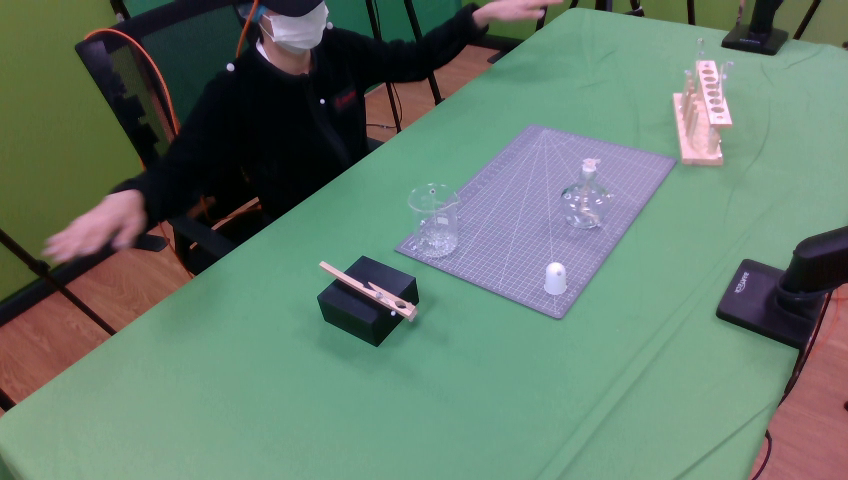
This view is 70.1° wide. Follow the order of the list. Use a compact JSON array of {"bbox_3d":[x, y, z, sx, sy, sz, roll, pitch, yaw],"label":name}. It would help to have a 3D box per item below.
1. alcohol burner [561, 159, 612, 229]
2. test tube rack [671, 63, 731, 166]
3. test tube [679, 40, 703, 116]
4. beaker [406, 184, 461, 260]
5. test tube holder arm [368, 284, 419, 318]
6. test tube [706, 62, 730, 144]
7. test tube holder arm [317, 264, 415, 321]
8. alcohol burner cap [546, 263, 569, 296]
[{"bbox_3d":[0.257,-0.077,0.951,0.078,0.119,0.077,-3,40,3],"label":"alcohol burner"},{"bbox_3d":[0.513,-0.240,1.132,0.066,0.085,0.242,4,41,14],"label":"test tube rack"},{"bbox_3d":[0.502,-0.303,1.138,0.017,0.151,0.017,-3,40,3],"label":"test tube"},{"bbox_3d":[0.019,-0.026,0.939,0.084,0.101,0.074,1,41,10],"label":"beaker"},{"bbox_3d":[-0.044,0.081,0.813,0.087,0.015,0.010,23,55,31],"label":"test tube holder arm"},{"bbox_3d":[0.507,-0.233,1.046,0.017,0.151,0.017,-5,36,4],"label":"test tube"},{"bbox_3d":[-0.083,0.070,0.833,0.177,0.015,0.013,22,55,30],"label":"test tube holder arm"},{"bbox_3d":[0.191,0.053,0.862,0.034,0.048,0.033,-5,40,4],"label":"alcohol burner cap"}]
